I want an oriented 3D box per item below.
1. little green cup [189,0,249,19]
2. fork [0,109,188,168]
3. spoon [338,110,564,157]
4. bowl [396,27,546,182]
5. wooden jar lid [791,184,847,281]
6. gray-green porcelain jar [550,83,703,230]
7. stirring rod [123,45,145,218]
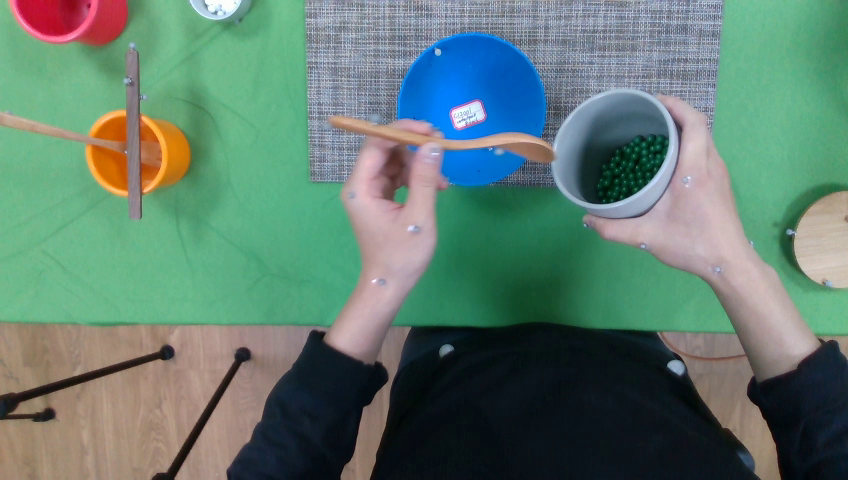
[{"bbox_3d":[-0.220,-0.270,0.655,0.061,0.038,0.062,1,101,4],"label":"little green cup"},{"bbox_3d":[-0.355,-0.109,0.637,0.209,0.018,0.028,11,107,-43],"label":"fork"},{"bbox_3d":[0.028,-0.077,0.448,0.195,0.041,0.022,-1,101,-32],"label":"spoon"},{"bbox_3d":[0.049,-0.139,0.640,0.151,0.076,0.152,1,101,4],"label":"bowl"},{"bbox_3d":[0.461,-0.009,0.672,0.108,0.020,0.108,1,101,4],"label":"wooden jar lid"},{"bbox_3d":[0.189,-0.069,0.551,0.105,0.127,0.105,-10,73,35],"label":"gray-green porcelain jar"},{"bbox_3d":[-0.302,-0.111,0.631,0.014,0.006,0.176,3,101,2],"label":"stirring rod"}]
